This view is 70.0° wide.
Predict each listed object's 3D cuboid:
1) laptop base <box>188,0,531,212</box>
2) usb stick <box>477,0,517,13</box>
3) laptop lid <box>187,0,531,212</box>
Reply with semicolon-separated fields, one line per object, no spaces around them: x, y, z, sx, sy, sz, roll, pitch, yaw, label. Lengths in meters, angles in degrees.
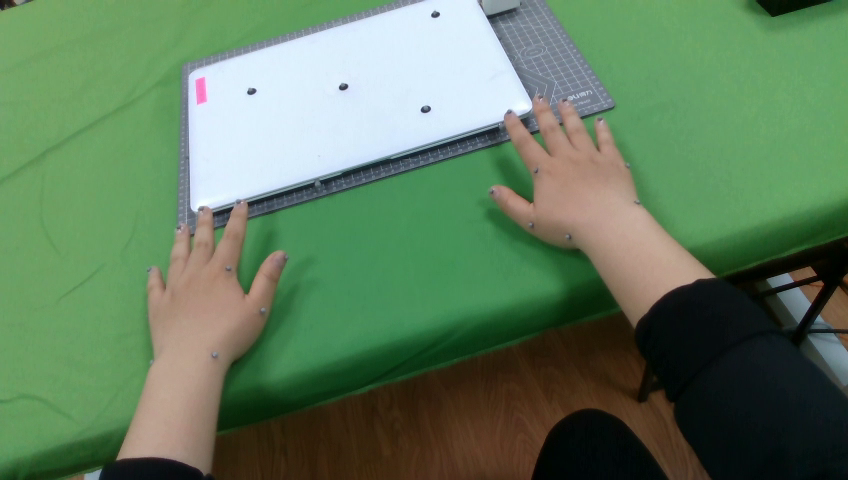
-0.086;-0.161;0.667;0.354;0.023;0.233;-17;55;-1;laptop base
0.078;-0.284;0.708;0.059;0.027;0.021;-18;51;2;usb stick
-0.087;-0.166;0.656;0.357;0.013;0.239;-16;54;0;laptop lid
